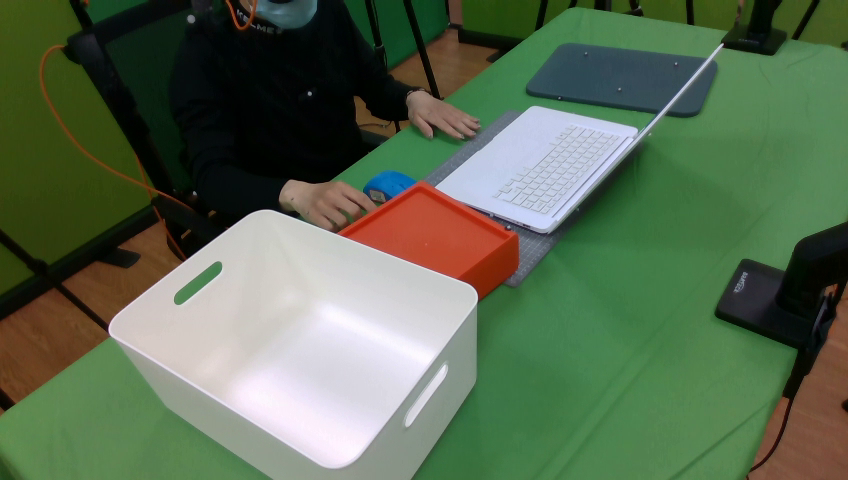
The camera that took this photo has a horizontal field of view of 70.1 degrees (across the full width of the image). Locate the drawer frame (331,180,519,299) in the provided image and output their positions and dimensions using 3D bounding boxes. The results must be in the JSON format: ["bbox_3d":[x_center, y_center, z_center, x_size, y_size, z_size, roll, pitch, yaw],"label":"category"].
[{"bbox_3d":[-0.003,0.020,0.901,0.202,0.083,0.211,-35,48,-28],"label":"drawer frame"}]

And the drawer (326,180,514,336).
[{"bbox_3d":[-0.004,0.019,0.902,0.195,0.073,0.210,-34,48,-27],"label":"drawer"}]

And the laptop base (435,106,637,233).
[{"bbox_3d":[0.210,-0.142,1.111,0.233,0.023,0.355,21,48,33],"label":"laptop base"}]

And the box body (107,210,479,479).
[{"bbox_3d":[-0.140,0.136,0.725,0.361,0.161,0.254,19,47,28],"label":"box body"}]

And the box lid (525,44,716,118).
[{"bbox_3d":[0.432,-0.360,1.341,0.369,0.015,0.263,16,45,24],"label":"box lid"}]

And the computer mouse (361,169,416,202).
[{"bbox_3d":[-0.053,-0.093,1.073,0.116,0.041,0.063,22,46,29],"label":"computer mouse"}]

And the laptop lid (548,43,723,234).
[{"bbox_3d":[0.336,-0.160,0.956,0.013,0.241,0.358,43,54,8],"label":"laptop lid"}]
